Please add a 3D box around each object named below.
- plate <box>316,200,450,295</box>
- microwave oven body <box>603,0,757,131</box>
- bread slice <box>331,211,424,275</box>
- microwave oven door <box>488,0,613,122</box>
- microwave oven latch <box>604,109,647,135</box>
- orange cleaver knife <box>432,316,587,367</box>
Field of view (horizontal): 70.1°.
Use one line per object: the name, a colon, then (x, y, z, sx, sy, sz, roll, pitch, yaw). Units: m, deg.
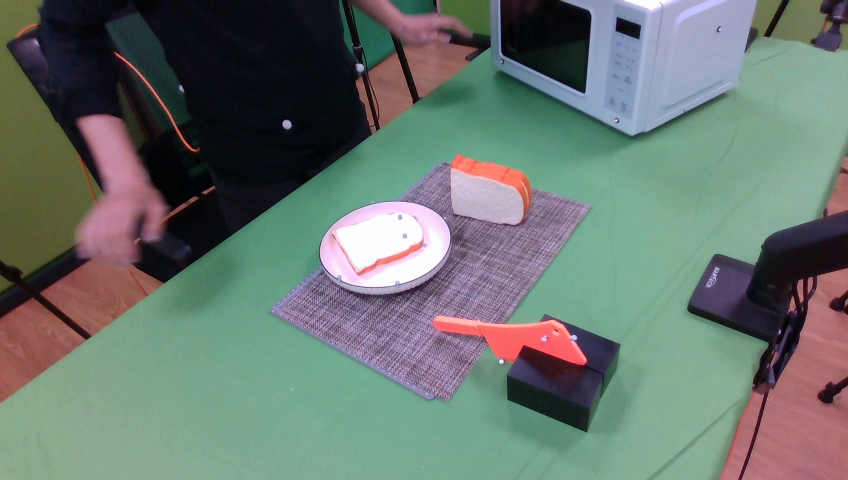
plate: (-0.062, 0.015, 0.944, 0.207, 0.039, 0.206, -4, 41, 4)
microwave oven body: (0.396, -0.448, 1.248, 0.327, 0.261, 0.437, -27, 44, -21)
bread slice: (-0.069, -0.001, 0.960, 0.135, 0.018, 0.106, -23, 46, -21)
microwave oven door: (0.251, -0.412, 1.219, 0.039, 0.245, 0.352, -27, 44, -21)
microwave oven latch: (0.378, -0.225, 1.139, 0.030, 0.029, 0.078, -26, 43, -20)
orange cleaver knife: (0.101, 0.127, 0.761, 0.210, 0.077, 0.012, -1, 34, 40)
